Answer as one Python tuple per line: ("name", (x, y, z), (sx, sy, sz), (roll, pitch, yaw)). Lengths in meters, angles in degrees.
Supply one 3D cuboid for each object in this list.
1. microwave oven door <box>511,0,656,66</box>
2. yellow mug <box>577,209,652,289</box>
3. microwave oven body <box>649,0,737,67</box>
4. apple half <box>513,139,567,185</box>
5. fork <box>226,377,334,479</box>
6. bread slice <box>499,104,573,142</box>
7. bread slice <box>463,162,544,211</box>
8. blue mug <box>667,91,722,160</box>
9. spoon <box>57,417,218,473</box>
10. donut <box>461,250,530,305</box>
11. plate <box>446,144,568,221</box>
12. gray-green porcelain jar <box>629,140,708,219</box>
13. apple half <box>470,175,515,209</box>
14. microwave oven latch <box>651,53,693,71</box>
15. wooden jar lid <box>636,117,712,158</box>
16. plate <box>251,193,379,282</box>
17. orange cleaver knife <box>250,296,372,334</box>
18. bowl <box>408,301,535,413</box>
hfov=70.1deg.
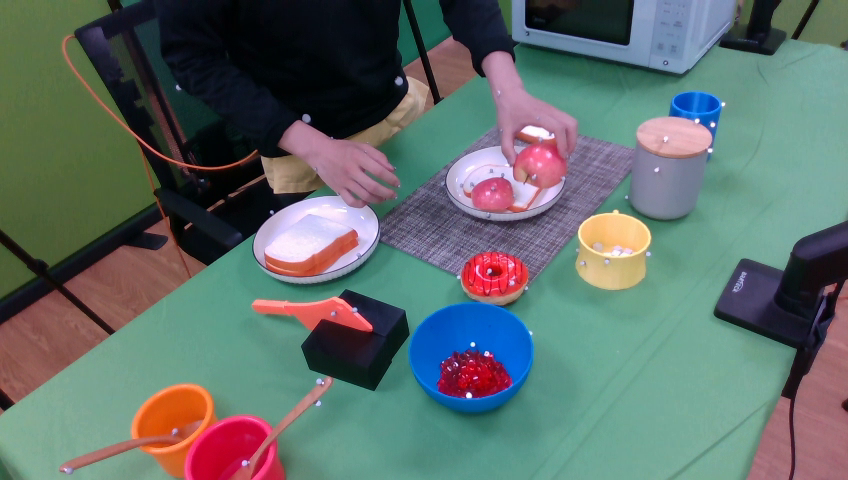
("microwave oven door", (0.351, -0.539, 1.349), (0.353, 0.245, 0.039), (24, 50, 31))
("yellow mug", (0.279, 0.004, 0.893), (0.099, 0.064, 0.130), (5, 41, 15))
("microwave oven body", (0.475, -0.602, 1.411), (0.438, 0.261, 0.327), (23, 50, 32))
("apple half", (0.178, -0.126, 0.925), (0.075, 0.053, 0.080), (-32, 39, -28))
("fork", (-0.163, 0.216, 0.647), (0.207, 0.019, 0.028), (-49, 41, 16))
("bread slice", (0.231, -0.231, 1.205), (0.105, 0.019, 0.130), (-36, 47, -28))
("bread slice", (0.136, -0.095, 1.044), (0.133, 0.018, 0.107), (14, 44, 24))
("blue mug", (0.474, -0.207, 1.079), (0.082, 0.106, 0.116), (4, 42, 13))
("spoon", (-0.304, 0.221, 0.661), (0.041, 0.195, 0.021), (19, 92, 27))
("donut", (0.103, 0.053, 0.872), (0.099, 0.048, 0.098), (-4, 40, 4))
("plate", (0.142, -0.096, 1.045), (0.207, 0.039, 0.206), (-4, 40, 4))
("gray-green porcelain jar", (0.383, -0.105, 0.958), (0.106, 0.127, 0.105), (-4, 41, 4))
("apple half", (0.114, -0.086, 1.004), (0.081, 0.033, 0.081), (-3, 43, 4))
("microwave oven latch", (0.532, -0.387, 1.301), (0.078, 0.029, 0.030), (27, 52, 34))
("wooden jar lid", (0.377, -0.151, 0.917), (0.108, 0.021, 0.108), (-2, 42, 3))
("plate", (-0.174, -0.001, 0.984), (0.209, 0.038, 0.208), (-4, 40, 4))
("orange cleaver knife", (-0.158, 0.103, 0.828), (0.210, 0.078, 0.012), (-4, 43, 39))
("bowl", (0.059, 0.156, 0.739), (0.151, 0.077, 0.150), (-4, 40, 4))
